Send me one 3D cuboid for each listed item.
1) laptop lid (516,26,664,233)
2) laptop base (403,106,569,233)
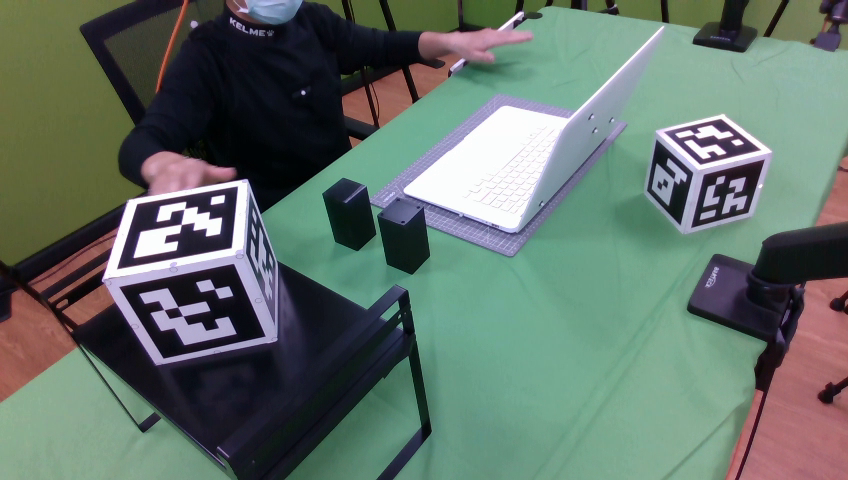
[{"bbox_3d":[0.268,-0.178,0.966,0.013,0.242,0.357,35,52,16],"label":"laptop lid"},{"bbox_3d":[0.156,-0.144,1.116,0.233,0.023,0.355,20,47,32],"label":"laptop base"}]
